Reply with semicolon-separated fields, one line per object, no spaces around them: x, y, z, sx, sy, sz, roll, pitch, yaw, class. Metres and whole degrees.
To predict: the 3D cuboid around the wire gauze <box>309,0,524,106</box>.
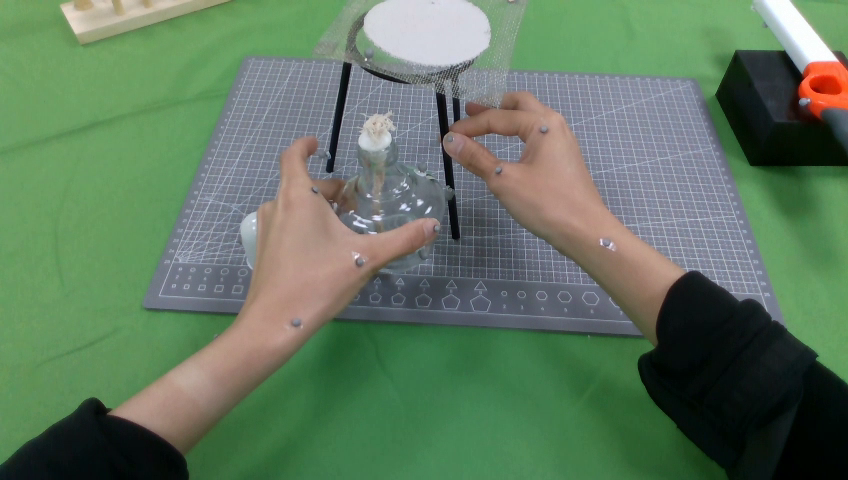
0.001;-0.143;0.406;0.125;0.011;0.120;14;52;7;wire gauze

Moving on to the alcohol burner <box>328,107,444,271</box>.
-0.027;-0.035;0.396;0.078;0.120;0.077;-4;48;5;alcohol burner

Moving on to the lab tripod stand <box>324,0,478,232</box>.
-0.007;-0.096;0.454;0.148;0.132;0.147;2;52;-2;lab tripod stand

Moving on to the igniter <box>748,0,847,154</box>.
0.337;-0.141;0.513;0.057;0.025;0.274;-1;49;1;igniter

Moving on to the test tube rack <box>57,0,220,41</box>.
-0.267;-0.300;0.641;0.242;0.086;0.066;-27;58;-21;test tube rack

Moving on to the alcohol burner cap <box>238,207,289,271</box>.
-0.117;-0.003;0.436;0.034;0.048;0.033;2;51;-2;alcohol burner cap
